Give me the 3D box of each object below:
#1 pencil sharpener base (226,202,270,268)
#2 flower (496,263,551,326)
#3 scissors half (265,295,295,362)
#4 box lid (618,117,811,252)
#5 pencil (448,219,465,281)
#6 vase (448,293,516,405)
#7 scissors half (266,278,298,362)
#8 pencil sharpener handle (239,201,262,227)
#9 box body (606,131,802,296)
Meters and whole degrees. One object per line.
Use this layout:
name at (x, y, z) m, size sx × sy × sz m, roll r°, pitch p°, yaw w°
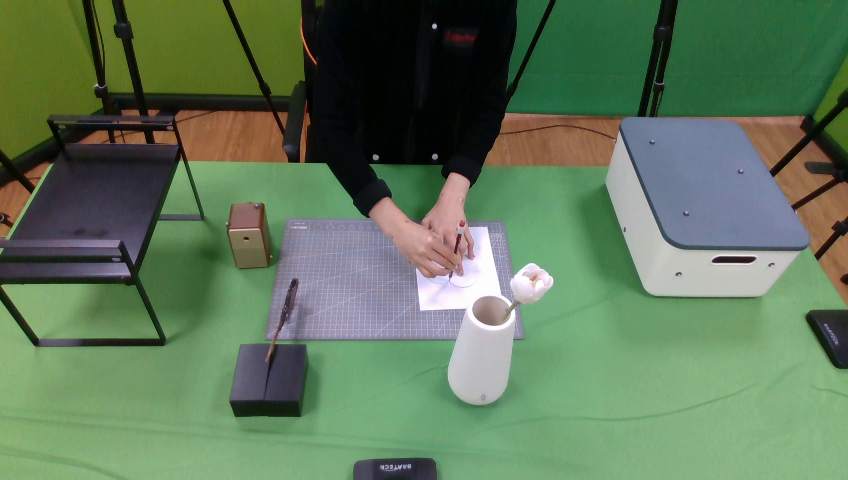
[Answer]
pencil sharpener base at (-0.323, -0.010, 1.123) m, size 0.061 × 0.107 × 0.076 m, roll -3°, pitch 46°, yaw -7°
flower at (0.102, 0.120, 0.853) m, size 0.044 × 0.363 × 0.038 m, roll -2°, pitch 64°, yaw -10°
scissors half at (-0.239, 0.143, 1.005) m, size 0.013 × 0.040 × 0.174 m, roll 17°, pitch 28°, yaw -6°
box lid at (0.534, -0.117, 1.148) m, size 0.263 × 0.015 × 0.369 m, roll 0°, pitch 47°, yaw -3°
pencil at (0.055, 0.022, 1.056) m, size 0.012 × 0.195 × 0.012 m, roll 2°, pitch 57°, yaw -3°
vase at (0.091, 0.169, 0.921) m, size 0.098 × 0.201 × 0.097 m, roll 3°, pitch 47°, yaw -3°
scissors half at (-0.234, 0.127, 0.993) m, size 0.013 × 0.040 × 0.174 m, roll 12°, pitch 46°, yaw -4°
pencil sharpener handle at (-0.325, -0.056, 1.150) m, size 0.036 × 0.068 × 0.030 m, roll -13°, pitch 46°, yaw 3°
box body at (0.530, -0.067, 1.204) m, size 0.254 × 0.161 × 0.361 m, roll 0°, pitch 46°, yaw -4°
